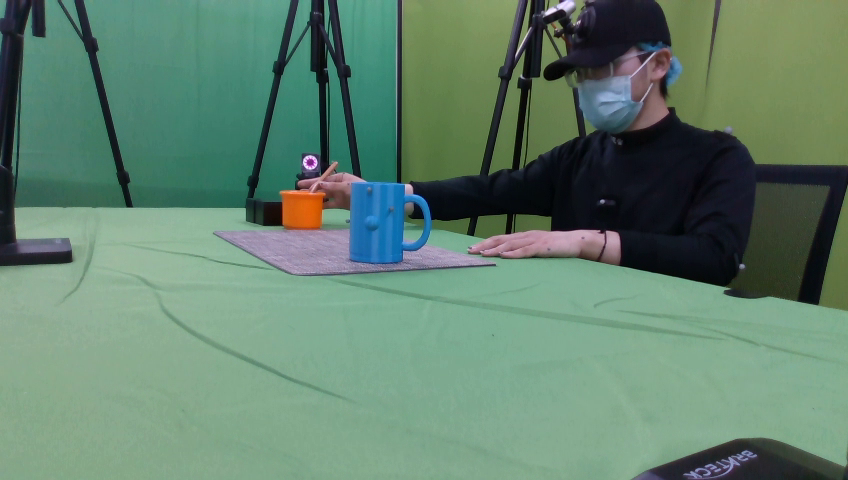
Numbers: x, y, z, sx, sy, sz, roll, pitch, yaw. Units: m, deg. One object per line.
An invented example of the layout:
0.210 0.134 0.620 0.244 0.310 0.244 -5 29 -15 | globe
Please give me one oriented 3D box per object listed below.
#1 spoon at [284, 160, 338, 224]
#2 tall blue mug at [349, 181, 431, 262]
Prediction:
-0.229 -0.101 1.252 0.041 0.194 0.022 2 -38 38 | spoon
-0.052 -0.028 0.849 0.108 0.108 0.077 -1 7 -22 | tall blue mug
